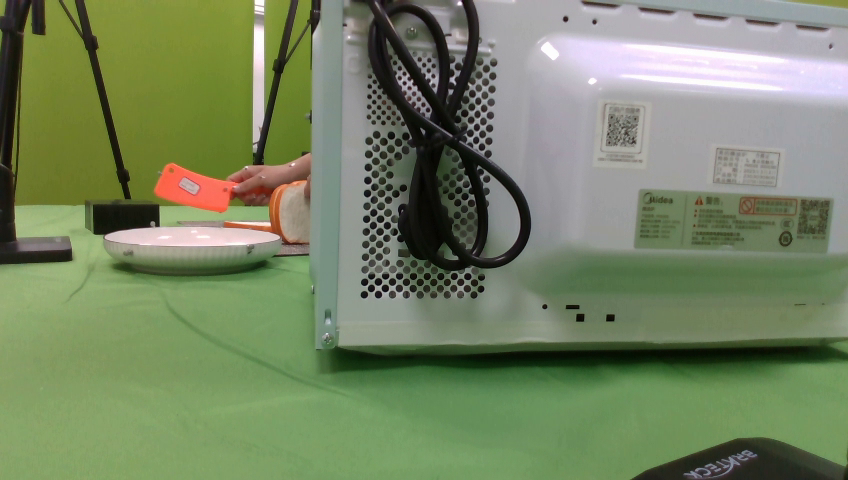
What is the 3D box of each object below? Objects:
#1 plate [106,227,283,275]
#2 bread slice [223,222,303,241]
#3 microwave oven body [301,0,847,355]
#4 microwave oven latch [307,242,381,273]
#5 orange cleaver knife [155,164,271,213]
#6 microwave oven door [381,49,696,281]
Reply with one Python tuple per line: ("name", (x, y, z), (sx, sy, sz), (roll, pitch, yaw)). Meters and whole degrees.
("plate", (-0.288, 0.013, 0.772), (0.208, 0.039, 0.207), (2, 7, 0))
("bread slice", (-0.275, -0.013, 1.041), (0.135, 0.018, 0.106), (8, -3, -42))
("microwave oven body", (0.120, -0.053, 0.535), (0.443, 0.260, 0.325), (2, 7, -11))
("microwave oven latch", (-0.086, 0.019, 0.656), (0.079, 0.029, 0.030), (2, 7, -10))
("orange cleaver knife", (-0.396, -0.090, 1.148), (0.212, 0.077, 0.012), (10, -17, -32))
("microwave oven door", (0.135, -0.077, 0.685), (0.357, 0.243, 0.039), (1, 8, -12))
